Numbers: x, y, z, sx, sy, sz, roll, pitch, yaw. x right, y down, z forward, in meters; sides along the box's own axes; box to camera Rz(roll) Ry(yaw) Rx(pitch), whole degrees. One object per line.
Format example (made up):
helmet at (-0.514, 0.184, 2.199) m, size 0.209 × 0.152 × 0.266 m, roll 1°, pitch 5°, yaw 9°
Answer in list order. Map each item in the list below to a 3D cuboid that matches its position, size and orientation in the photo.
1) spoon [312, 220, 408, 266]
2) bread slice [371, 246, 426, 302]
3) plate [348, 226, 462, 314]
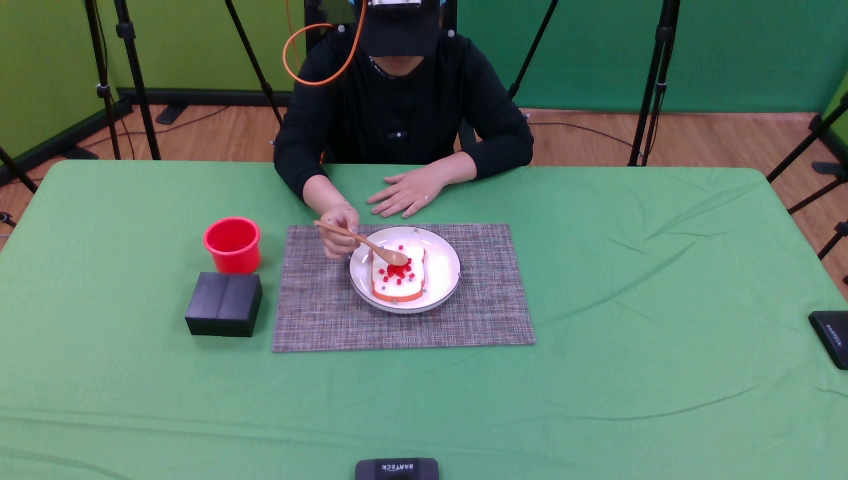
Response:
spoon at (-0.111, 0.002, 1.073) m, size 0.195 × 0.021 × 0.041 m, roll 28°, pitch 29°, yaw -29°
bread slice at (-0.047, 0.060, 1.123) m, size 0.105 × 0.019 × 0.130 m, roll 0°, pitch 45°, yaw -3°
plate at (-0.035, 0.058, 1.123) m, size 0.209 × 0.038 × 0.208 m, roll 2°, pitch 45°, yaw -2°
